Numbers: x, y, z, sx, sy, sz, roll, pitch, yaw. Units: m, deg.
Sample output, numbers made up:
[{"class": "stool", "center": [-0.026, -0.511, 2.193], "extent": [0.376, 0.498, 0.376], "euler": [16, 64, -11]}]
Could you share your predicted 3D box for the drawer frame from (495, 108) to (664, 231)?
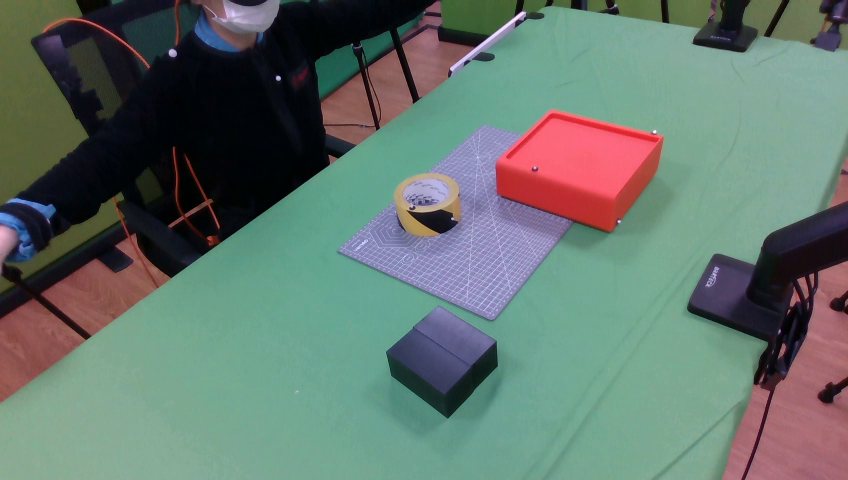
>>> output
[{"class": "drawer frame", "center": [0.262, -0.127, 1.028], "extent": [0.212, 0.083, 0.202], "euler": [22, 48, 29]}]

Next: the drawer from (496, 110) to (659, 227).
[{"class": "drawer", "center": [0.259, -0.127, 1.028], "extent": [0.210, 0.073, 0.195], "euler": [23, 48, 30]}]

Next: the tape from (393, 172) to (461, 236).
[{"class": "tape", "center": [0.005, -0.061, 1.012], "extent": [0.117, 0.053, 0.116], "euler": [-4, 40, 4]}]
